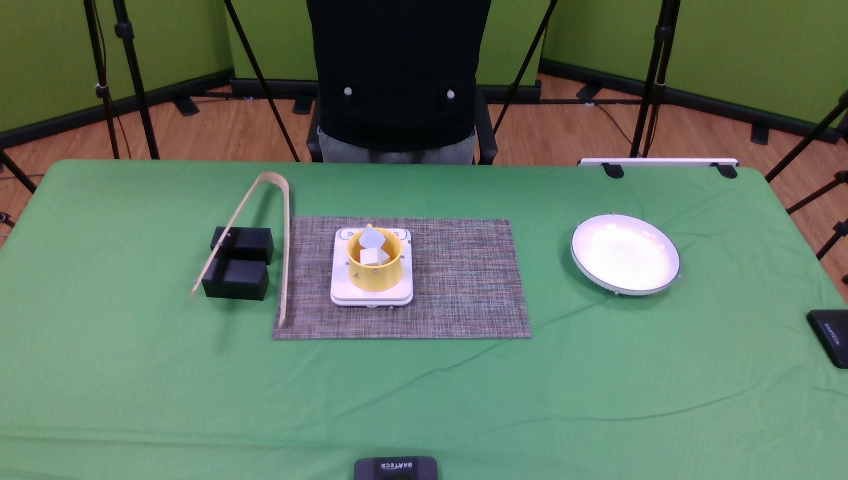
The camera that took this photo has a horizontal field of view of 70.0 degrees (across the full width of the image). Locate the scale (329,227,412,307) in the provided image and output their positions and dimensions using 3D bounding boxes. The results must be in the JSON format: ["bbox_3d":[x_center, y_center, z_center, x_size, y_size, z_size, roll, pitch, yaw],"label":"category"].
[{"bbox_3d":[-0.099,0.042,1.139,0.149,0.032,0.199,1,46,-4],"label":"scale"}]

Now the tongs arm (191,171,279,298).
[{"bbox_3d":[-0.344,-0.023,1.133,0.051,0.026,0.382,23,36,-14],"label":"tongs arm"}]

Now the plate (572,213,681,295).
[{"bbox_3d":[0.392,0.030,1.189,0.208,0.039,0.206,2,46,-2],"label":"plate"}]

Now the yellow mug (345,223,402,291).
[{"bbox_3d":[-0.092,0.022,1.093,0.100,0.064,0.130,-7,46,-10],"label":"yellow mug"}]

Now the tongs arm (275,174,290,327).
[{"bbox_3d":[-0.272,0.006,1.161,0.028,0.028,0.385,12,41,-23],"label":"tongs arm"}]
